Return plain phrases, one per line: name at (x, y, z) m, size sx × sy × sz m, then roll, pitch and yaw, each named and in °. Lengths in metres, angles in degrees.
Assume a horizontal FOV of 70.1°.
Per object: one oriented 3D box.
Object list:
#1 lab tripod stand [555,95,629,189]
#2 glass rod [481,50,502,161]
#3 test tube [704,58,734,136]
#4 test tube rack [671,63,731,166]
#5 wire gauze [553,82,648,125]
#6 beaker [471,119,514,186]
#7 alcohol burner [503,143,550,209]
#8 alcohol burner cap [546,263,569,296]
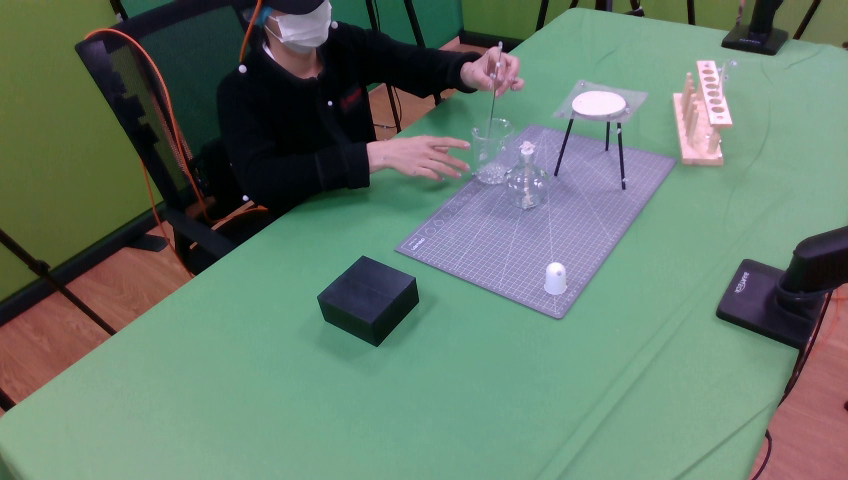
lab tripod stand at (0.300, -0.174, 1.045) m, size 0.148 × 0.132 × 0.147 m, roll -5°, pitch 38°, yaw 5°
glass rod at (0.114, -0.225, 1.034) m, size 0.008 × 0.200 × 0.008 m, roll 5°, pitch 34°, yaw -3°
test tube at (0.517, -0.247, 1.062) m, size 0.017 × 0.151 × 0.017 m, roll -3°, pitch 43°, yaw 4°
test tube rack at (0.513, -0.241, 1.132) m, size 0.066 × 0.085 × 0.242 m, roll 4°, pitch 41°, yaw 14°
wire gauze at (0.293, -0.225, 1.002) m, size 0.120 × 0.011 × 0.125 m, roll 17°, pitch 45°, yaw 27°
beaker at (0.126, -0.155, 1.077) m, size 0.084 × 0.101 × 0.073 m, roll -35°, pitch 47°, yaw -29°
alcohol burner at (0.171, -0.111, 1.006) m, size 0.078 × 0.119 × 0.077 m, roll -3°, pitch 41°, yaw 4°
alcohol burner cap at (0.191, 0.053, 0.862) m, size 0.034 × 0.048 × 0.033 m, roll -5°, pitch 40°, yaw 4°
